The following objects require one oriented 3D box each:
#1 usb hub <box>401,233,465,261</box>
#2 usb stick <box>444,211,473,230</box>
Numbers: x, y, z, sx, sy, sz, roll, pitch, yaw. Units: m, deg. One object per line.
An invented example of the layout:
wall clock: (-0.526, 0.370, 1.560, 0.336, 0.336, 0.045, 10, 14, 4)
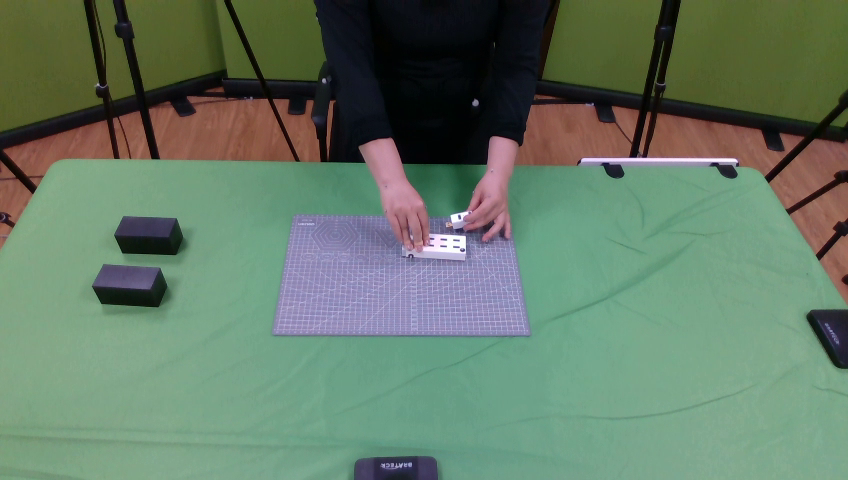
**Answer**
usb hub: (0.018, 0.013, 1.180, 0.125, 0.025, 0.049, 4, 47, 0)
usb stick: (0.068, -0.037, 1.212, 0.059, 0.027, 0.021, -14, 52, 8)
